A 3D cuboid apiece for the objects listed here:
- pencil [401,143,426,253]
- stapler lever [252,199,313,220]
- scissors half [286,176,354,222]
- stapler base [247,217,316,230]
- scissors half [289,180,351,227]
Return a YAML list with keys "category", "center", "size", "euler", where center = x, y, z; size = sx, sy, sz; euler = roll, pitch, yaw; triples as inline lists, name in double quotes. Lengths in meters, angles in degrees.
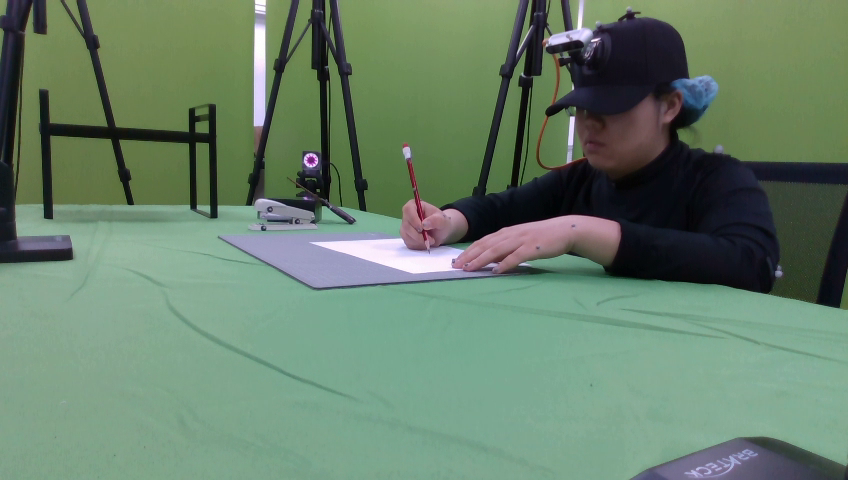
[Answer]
- category: "pencil"
  center: [-0.015, -0.068, 0.947]
  size: [0.012, 0.193, 0.012]
  euler: [-10, -21, -4]
- category: "stapler lever"
  center: [-0.273, -0.058, 1.170]
  size: [0.119, 0.040, 0.026]
  euler: [0, 10, -37]
- category: "scissors half"
  center: [-0.229, -0.091, 1.337]
  size: [0.175, 0.013, 0.040]
  euler: [33, 16, -13]
- category: "stapler base"
  center: [-0.276, -0.033, 1.172]
  size: [0.131, 0.024, 0.041]
  euler: [0, 10, -37]
- category: "scissors half"
  center: [-0.232, -0.085, 1.318]
  size: [0.175, 0.013, 0.040]
  euler: [38, 21, 4]
